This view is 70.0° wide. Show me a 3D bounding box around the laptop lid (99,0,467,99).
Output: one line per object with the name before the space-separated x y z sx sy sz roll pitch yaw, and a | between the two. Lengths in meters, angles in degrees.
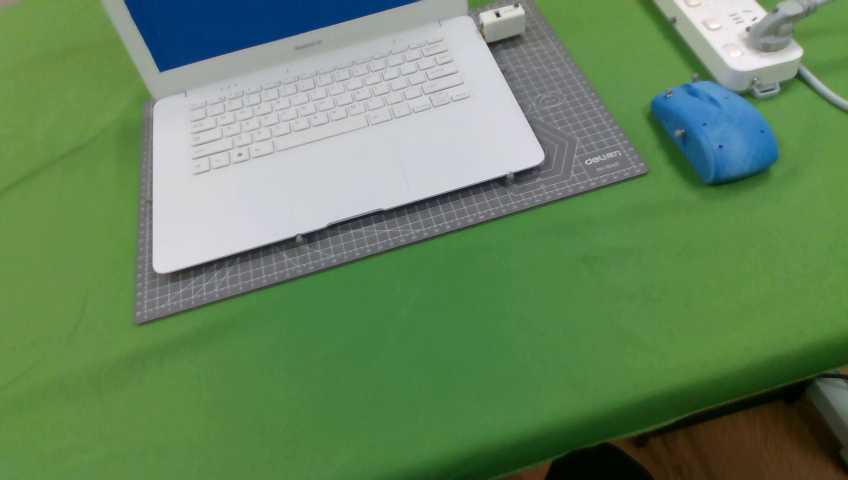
laptop lid | -0.143 -0.284 0.582 0.357 0.244 0.013 -18 41 -2

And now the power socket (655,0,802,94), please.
power socket | 0.289 -0.231 0.606 0.072 0.033 0.224 -14 53 0

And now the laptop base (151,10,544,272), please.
laptop base | -0.089 -0.107 0.590 0.354 0.023 0.233 -17 57 -3

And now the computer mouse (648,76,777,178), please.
computer mouse | 0.244 -0.104 0.518 0.063 0.041 0.116 -17 48 0

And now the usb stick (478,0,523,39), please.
usb stick | 0.073 -0.230 0.635 0.059 0.027 0.021 -18 54 1

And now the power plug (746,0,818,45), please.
power plug | 0.329 -0.192 0.545 0.072 0.053 0.035 -5 56 6
